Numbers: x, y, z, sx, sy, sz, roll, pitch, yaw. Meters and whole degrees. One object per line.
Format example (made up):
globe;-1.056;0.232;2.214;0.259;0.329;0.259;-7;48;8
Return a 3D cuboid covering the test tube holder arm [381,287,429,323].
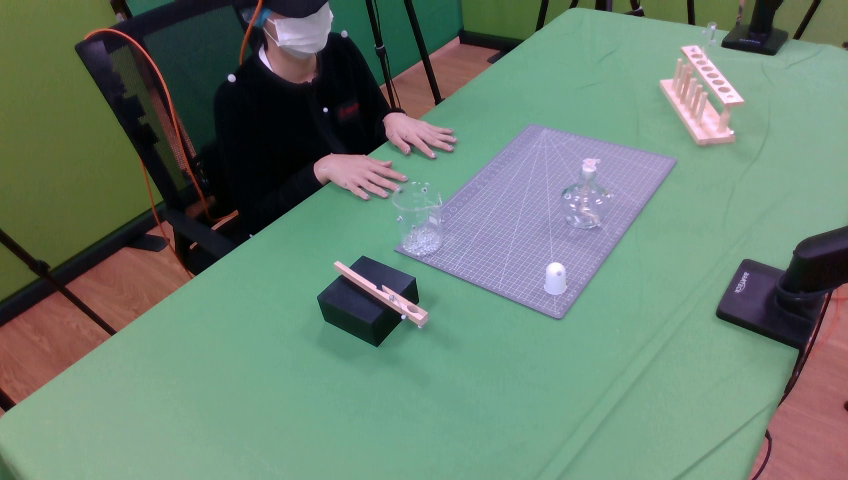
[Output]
test tube holder arm;-0.028;0.087;0.807;0.087;0.015;0.010;25;42;33

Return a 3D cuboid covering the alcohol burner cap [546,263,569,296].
alcohol burner cap;0.191;0.053;0.862;0.034;0.048;0.033;-5;40;4

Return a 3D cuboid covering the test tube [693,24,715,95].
test tube;0.543;-0.348;1.177;0.017;0.151;0.017;-5;45;5

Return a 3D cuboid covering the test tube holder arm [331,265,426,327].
test tube holder arm;-0.066;0.074;0.828;0.177;0.015;0.013;25;42;33

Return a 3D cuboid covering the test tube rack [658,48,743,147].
test tube rack;0.532;-0.284;1.181;0.067;0.085;0.241;-5;40;4

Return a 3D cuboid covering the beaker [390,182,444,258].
beaker;-0.005;-0.028;0.946;0.083;0.101;0.074;15;45;24

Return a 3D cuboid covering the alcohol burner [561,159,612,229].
alcohol burner;0.257;-0.077;0.951;0.078;0.119;0.077;-3;40;3
